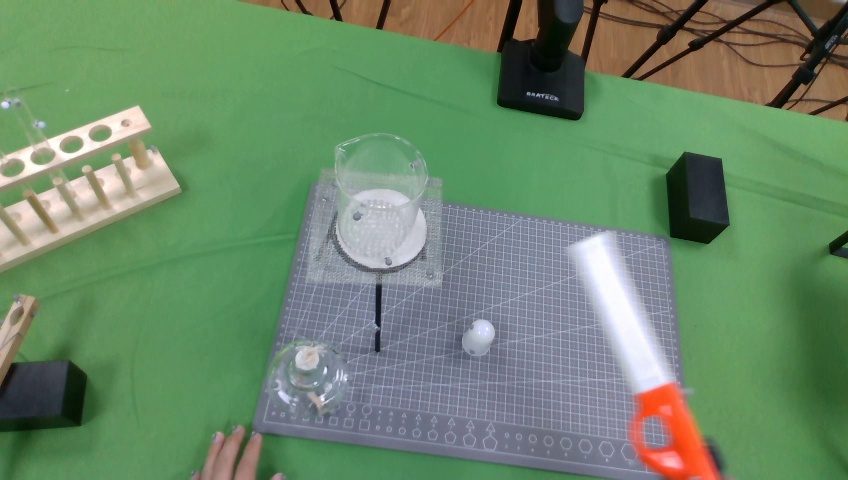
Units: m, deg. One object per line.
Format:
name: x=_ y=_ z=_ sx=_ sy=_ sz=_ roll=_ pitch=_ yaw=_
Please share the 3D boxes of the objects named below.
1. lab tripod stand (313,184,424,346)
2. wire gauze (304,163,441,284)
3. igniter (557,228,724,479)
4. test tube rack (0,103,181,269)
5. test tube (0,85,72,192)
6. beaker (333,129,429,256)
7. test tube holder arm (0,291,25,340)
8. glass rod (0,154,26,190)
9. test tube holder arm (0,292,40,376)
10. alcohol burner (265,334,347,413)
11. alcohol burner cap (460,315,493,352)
lab tripod stand: x=-0.050 y=0.019 z=0.621 sx=0.149 sy=0.132 sz=0.147 roll=4 pitch=63 yaw=-8
wire gauze: x=-0.045 y=-0.016 z=0.566 sx=0.121 sy=0.011 sz=0.124 roll=4 pitch=66 yaw=-5
igniter: x=0.178 y=0.121 z=0.475 sx=0.057 sy=0.025 sz=0.275 roll=-27 pitch=81 yaw=16
test tube rack: x=-0.395 y=-0.049 z=0.636 sx=0.242 sy=0.086 sz=0.066 roll=-29 pitch=70 yaw=-21
test tube: x=-0.383 y=-0.095 z=0.606 sx=0.017 sy=0.151 sz=0.017 roll=5 pitch=57 yaw=-7
beaker: x=-0.043 y=-0.037 z=0.521 sx=0.084 sy=0.101 sz=0.073 roll=32 pitch=62 yaw=8
test tube holder arm: x=-0.387 y=0.127 z=0.527 sx=0.013 sy=0.015 sz=0.177 roll=11 pitch=60 yaw=-1
glass rod: x=-0.416 y=-0.091 z=0.578 sx=0.008 sy=0.201 sz=0.008 roll=1 pitch=56 yaw=-2
test tube holder arm: x=-0.375 y=0.090 z=0.549 sx=0.010 sy=0.015 sz=0.087 roll=11 pitch=60 yaw=-1
alcohol burner: x=-0.110 y=0.120 z=0.570 sx=0.078 sy=0.120 sz=0.077 roll=5 pitch=61 yaw=-8
alcohol burner cap: x=0.058 y=0.098 z=0.648 sx=0.034 sy=0.048 sz=0.033 roll=2 pitch=64 yaw=-5
